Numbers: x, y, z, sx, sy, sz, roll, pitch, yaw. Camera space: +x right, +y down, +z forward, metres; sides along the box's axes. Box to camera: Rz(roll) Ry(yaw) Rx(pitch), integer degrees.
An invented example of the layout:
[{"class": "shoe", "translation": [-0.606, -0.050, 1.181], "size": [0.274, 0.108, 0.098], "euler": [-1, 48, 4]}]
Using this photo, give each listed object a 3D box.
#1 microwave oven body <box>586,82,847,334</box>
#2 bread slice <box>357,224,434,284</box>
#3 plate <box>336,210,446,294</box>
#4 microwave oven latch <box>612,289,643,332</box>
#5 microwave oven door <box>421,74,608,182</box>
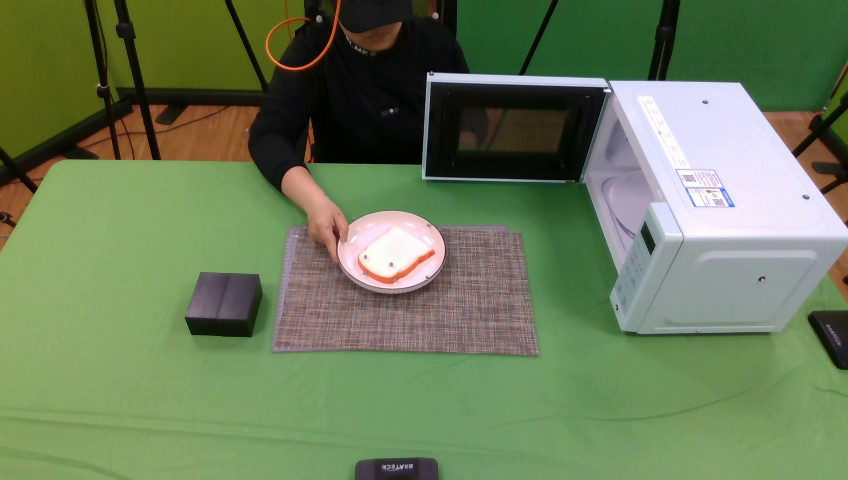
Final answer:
[{"class": "microwave oven body", "translation": [0.501, -0.070, 1.132], "size": [0.326, 0.261, 0.438], "euler": [-1, 45, -3]}, {"class": "bread slice", "translation": [-0.059, 0.028, 1.153], "size": [0.104, 0.019, 0.131], "euler": [34, 53, 26]}, {"class": "plate", "translation": [-0.062, 0.026, 1.153], "size": [0.209, 0.038, 0.208], "euler": [3, 46, -2]}, {"class": "microwave oven latch", "translation": [0.357, 0.124, 1.068], "size": [0.030, 0.029, 0.078], "euler": [0, 45, -3]}, {"class": "microwave oven door", "translation": [0.177, -0.226, 1.254], "size": [0.356, 0.245, 0.039], "euler": [0, 46, -3]}]
